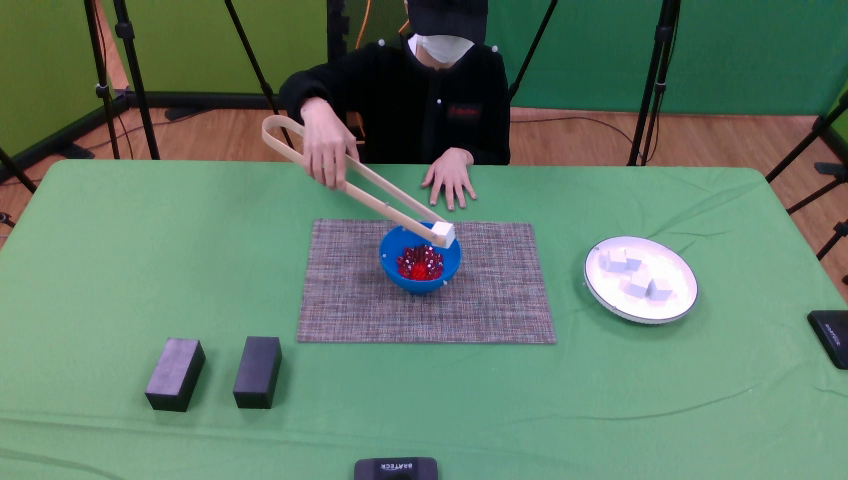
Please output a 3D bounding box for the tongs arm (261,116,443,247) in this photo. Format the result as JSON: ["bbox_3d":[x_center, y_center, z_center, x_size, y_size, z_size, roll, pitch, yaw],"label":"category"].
[{"bbox_3d":[-0.128,-0.102,1.051,0.384,0.026,0.050,29,55,5],"label":"tongs arm"}]

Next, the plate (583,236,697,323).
[{"bbox_3d":[0.403,0.078,1.144,0.209,0.038,0.208,2,45,-2],"label":"plate"}]

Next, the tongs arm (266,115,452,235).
[{"bbox_3d":[-0.116,-0.117,1.065,0.387,0.028,0.028,33,58,8],"label":"tongs arm"}]

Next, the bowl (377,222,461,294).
[{"bbox_3d":[-0.011,0.046,1.109,0.151,0.077,0.150,2,46,-2],"label":"bowl"}]
